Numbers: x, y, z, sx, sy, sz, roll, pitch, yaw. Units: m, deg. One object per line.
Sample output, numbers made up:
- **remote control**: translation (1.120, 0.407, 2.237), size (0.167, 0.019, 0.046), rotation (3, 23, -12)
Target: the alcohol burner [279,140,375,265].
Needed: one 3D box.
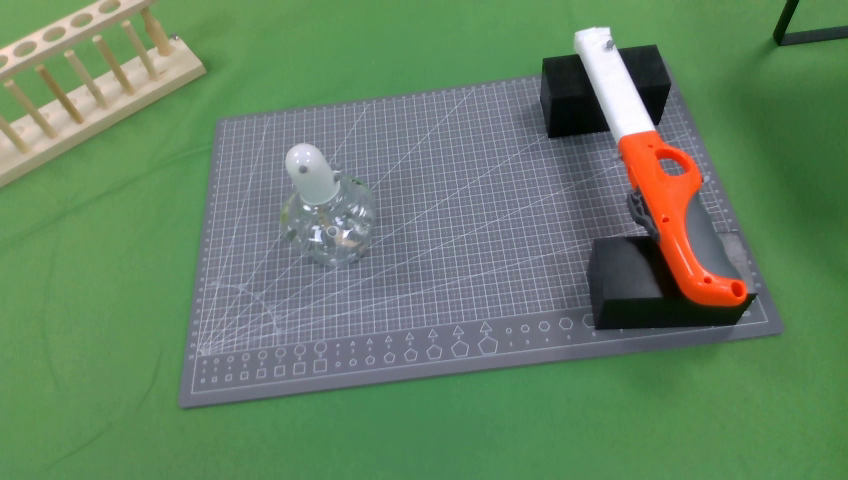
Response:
- **alcohol burner**: translation (-0.079, -0.032, 0.473), size (0.078, 0.120, 0.077), rotation (-4, 55, 5)

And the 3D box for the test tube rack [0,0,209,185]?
- **test tube rack**: translation (-0.353, -0.159, 0.606), size (0.242, 0.086, 0.066), rotation (-35, 60, -15)

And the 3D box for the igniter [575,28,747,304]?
- **igniter**: translation (0.169, -0.070, 0.461), size (0.057, 0.025, 0.273), rotation (-11, 55, 1)

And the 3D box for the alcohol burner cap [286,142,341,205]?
- **alcohol burner cap**: translation (-0.083, -0.052, 0.444), size (0.034, 0.048, 0.033), rotation (-5, 60, 9)
